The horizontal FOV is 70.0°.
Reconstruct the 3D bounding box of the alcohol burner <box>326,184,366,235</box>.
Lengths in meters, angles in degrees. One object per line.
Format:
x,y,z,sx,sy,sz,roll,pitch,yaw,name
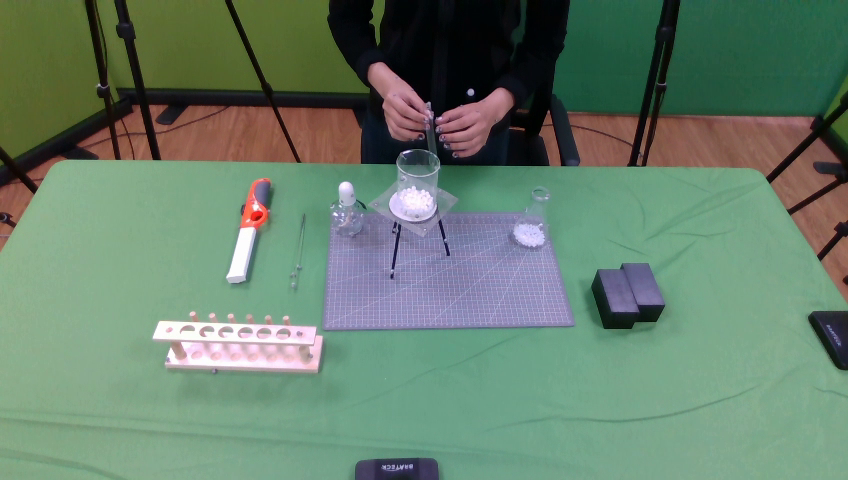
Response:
-0.152,-0.066,1.184,0.078,0.119,0.077,4,46,-4,alcohol burner

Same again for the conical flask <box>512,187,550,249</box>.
0.217,-0.048,1.190,0.075,0.122,0.075,2,46,-2,conical flask

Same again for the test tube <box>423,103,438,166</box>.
0.013,-0.196,1.150,0.017,0.151,0.017,-3,52,5,test tube

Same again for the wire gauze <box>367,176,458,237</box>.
-0.020,-0.066,1.089,0.124,0.011,0.121,27,47,22,wire gauze

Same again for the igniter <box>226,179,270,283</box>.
-0.345,-0.027,1.195,0.057,0.025,0.274,-6,46,5,igniter

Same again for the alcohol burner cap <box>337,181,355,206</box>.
-0.151,-0.090,1.158,0.034,0.048,0.033,0,52,0,alcohol burner cap

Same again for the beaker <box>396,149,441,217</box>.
-0.015,-0.098,1.053,0.074,0.101,0.083,-31,55,-30,beaker

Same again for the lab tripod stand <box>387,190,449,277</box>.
-0.021,-0.018,1.135,0.148,0.132,0.147,3,44,-3,lab tripod stand

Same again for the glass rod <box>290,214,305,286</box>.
-0.245,0.015,1.176,0.008,0.008,0.198,1,43,-3,glass rod

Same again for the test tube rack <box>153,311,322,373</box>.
-0.293,0.160,0.978,0.242,0.085,0.066,3,46,-2,test tube rack
